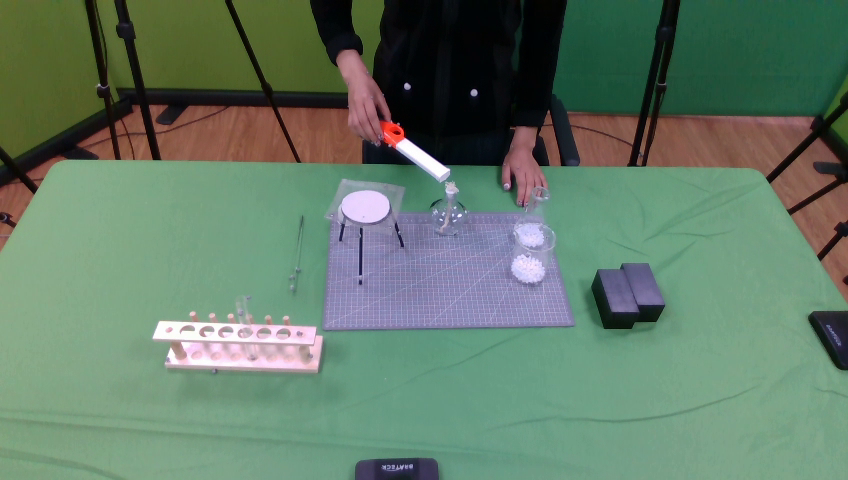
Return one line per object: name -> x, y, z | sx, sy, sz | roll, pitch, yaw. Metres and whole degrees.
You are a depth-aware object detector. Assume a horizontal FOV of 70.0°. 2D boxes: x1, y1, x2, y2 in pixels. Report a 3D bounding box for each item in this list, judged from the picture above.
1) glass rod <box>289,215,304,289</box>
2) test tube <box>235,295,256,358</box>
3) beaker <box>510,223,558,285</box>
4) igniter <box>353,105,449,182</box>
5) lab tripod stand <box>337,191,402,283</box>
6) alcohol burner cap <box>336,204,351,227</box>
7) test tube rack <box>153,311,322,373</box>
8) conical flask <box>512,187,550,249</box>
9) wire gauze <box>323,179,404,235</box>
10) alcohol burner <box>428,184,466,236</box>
glass rod -> -0.246, 0.019, 1.171 | 0.008, 0.008, 0.198 | 1, 43, -3
test tube -> -0.274, 0.136, 0.933 | 0.017, 0.151, 0.017 | 4, 45, -4
beaker -> 0.199, 0.028, 1.132 | 0.083, 0.101, 0.074 | 26, 50, 21
igniter -> -0.054, -0.201, 1.229 | 0.057, 0.025, 0.275 | -37, 59, -24
lab tripod stand -> -0.106, -0.016, 1.125 | 0.148, 0.132, 0.147 | 3, 44, -2
alcohol burner cap -> -0.162, -0.053, 1.220 | 0.034, 0.048, 0.033 | 2, 46, -2
test tube rack -> -0.293, 0.160, 0.978 | 0.242, 0.085, 0.066 | 3, 46, -2
conical flask -> 0.217, -0.048, 1.190 | 0.075, 0.122, 0.075 | 2, 46, -2
wire gauze -> -0.106, -0.064, 1.078 | 0.125, 0.011, 0.121 | 11, 45, 5
alcohol burner -> 0.047, -0.066, 1.200 | 0.078, 0.119, 0.077 | 4, 45, -3
